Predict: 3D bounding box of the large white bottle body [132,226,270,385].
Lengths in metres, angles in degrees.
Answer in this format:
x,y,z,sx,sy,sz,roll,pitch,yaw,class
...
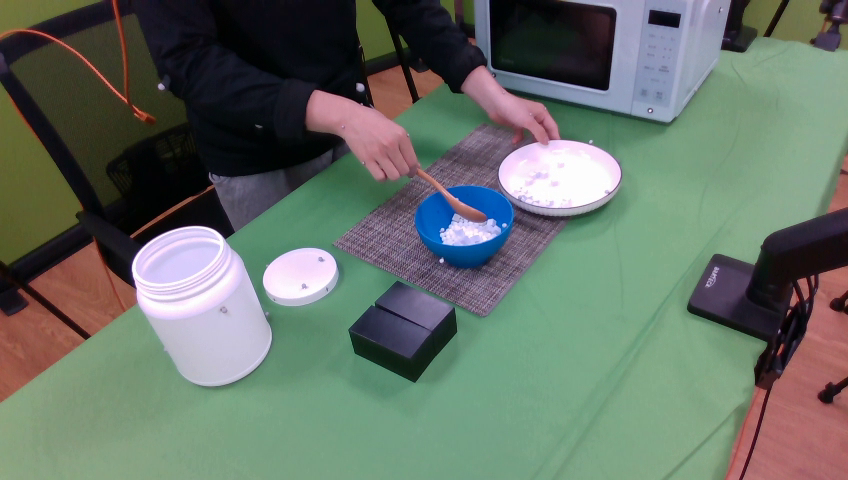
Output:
x,y,z,sx,sy,sz,roll,pitch,yaw,class
-0.286,0.085,0.783,0.130,0.185,0.130,-4,41,4,large white bottle body

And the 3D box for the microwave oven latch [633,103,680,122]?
x,y,z,sx,sy,sz,roll,pitch,yaw,class
0.443,-0.249,1.157,0.078,0.029,0.030,21,48,30,microwave oven latch

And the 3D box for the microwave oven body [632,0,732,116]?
x,y,z,sx,sy,sz,roll,pitch,yaw,class
0.377,-0.463,1.267,0.438,0.261,0.327,21,49,30,microwave oven body

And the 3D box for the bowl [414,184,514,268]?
x,y,z,sx,sy,sz,roll,pitch,yaw,class
0.063,-0.010,0.922,0.151,0.077,0.150,-4,40,4,bowl

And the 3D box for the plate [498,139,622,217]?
x,y,z,sx,sy,sz,roll,pitch,yaw,class
0.231,-0.103,1.038,0.209,0.038,0.208,-4,41,4,plate

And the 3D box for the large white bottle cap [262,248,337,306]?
x,y,z,sx,sy,sz,roll,pitch,yaw,class
-0.193,0.056,0.934,0.115,0.018,0.114,-4,41,4,large white bottle cap

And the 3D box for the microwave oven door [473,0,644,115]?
x,y,z,sx,sy,sz,roll,pitch,yaw,class
0.257,-0.396,1.199,0.353,0.245,0.039,21,48,29,microwave oven door

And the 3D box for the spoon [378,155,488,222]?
x,y,z,sx,sy,sz,roll,pitch,yaw,class
0.012,-0.079,0.906,0.193,0.021,0.042,36,12,11,spoon
